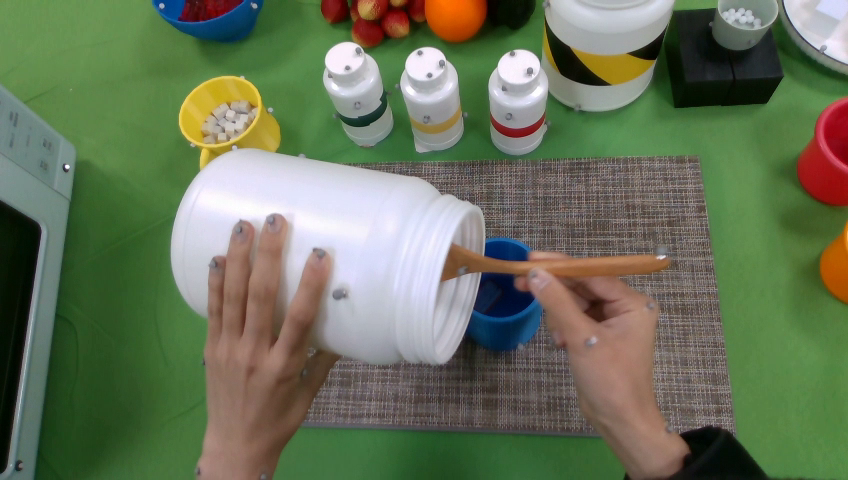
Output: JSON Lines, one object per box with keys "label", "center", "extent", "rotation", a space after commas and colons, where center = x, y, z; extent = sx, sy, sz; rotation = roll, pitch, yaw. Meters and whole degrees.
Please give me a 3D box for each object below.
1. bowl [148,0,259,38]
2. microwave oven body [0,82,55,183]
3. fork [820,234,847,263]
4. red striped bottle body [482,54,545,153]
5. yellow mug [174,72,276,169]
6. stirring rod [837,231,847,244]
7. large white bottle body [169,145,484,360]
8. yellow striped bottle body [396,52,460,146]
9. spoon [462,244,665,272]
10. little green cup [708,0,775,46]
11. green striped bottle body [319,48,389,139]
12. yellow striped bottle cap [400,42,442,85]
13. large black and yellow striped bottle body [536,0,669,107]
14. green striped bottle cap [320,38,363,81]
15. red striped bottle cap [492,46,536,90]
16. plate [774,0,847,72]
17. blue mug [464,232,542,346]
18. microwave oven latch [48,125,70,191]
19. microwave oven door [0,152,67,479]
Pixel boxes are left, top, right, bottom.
{"label": "bowl", "center": [-0.277, -0.324, 0.802], "extent": [0.151, 0.077, 0.150], "rotation": [-2, 68, 6]}
{"label": "microwave oven body", "center": [-0.589, 0.050, 0.586], "extent": [0.326, 0.262, 0.438], "rotation": [-9, 68, 3]}
{"label": "fork", "center": [0.444, 0.031, 0.524], "extent": [0.028, 0.019, 0.205], "rotation": [-26, 22, -12]}
{"label": "red striped bottle body", "center": [0.099, -0.153, 0.662], "extent": [0.063, 0.121, 0.062], "rotation": [-6, 63, 11]}
{"label": "yellow mug", "center": [-0.241, -0.128, 0.724], "extent": [0.100, 0.064, 0.130], "rotation": [9, 70, 11]}
{"label": "stirring rod", "center": [0.416, 0.029, 0.537], "extent": [0.014, 0.006, 0.175], "rotation": [2, 25, 6]}
{"label": "large white bottle body", "center": [-0.061, 0.009, 0.423], "extent": [0.184, 0.132, 0.130], "rotation": [11, 69, 18]}
{"label": "yellow striped bottle body", "center": [0.005, -0.163, 0.677], "extent": [0.063, 0.121, 0.062], "rotation": [-3, 67, 7]}
{"label": "spoon", "center": [0.059, 0.013, 0.409], "extent": [0.192, 0.042, 0.021], "rotation": [2, 34, 29]}
{"label": "little green cup", "center": [0.340, -0.243, 0.656], "extent": [0.061, 0.039, 0.061], "rotation": [-2, 65, 4]}
{"label": "green striped bottle body", "center": [-0.080, -0.172, 0.692], "extent": [0.063, 0.120, 0.062], "rotation": [-2, 67, 6]}
{"label": "yellow striped bottle cap", "center": [-0.003, -0.183, 0.629], "extent": [0.044, 0.019, 0.044], "rotation": [-1, 65, 2]}
{"label": "large black and yellow striped bottle body", "center": [0.190, -0.246, 0.653], "extent": [0.130, 0.185, 0.130], "rotation": [-3, 67, 7]}
{"label": "green striped bottle cap", "center": [-0.088, -0.193, 0.645], "extent": [0.044, 0.020, 0.044], "rotation": [-2, 67, 5]}
{"label": "red striped bottle cap", "center": [0.091, -0.175, 0.614], "extent": [0.044, 0.018, 0.044], "rotation": [-1, 66, 3]}
{"label": "plate", "center": [0.512, -0.273, 0.702], "extent": [0.209, 0.038, 0.207], "rotation": [-2, 68, 6]}
{"label": "blue mug", "center": [0.056, 0.058, 0.583], "extent": [0.116, 0.107, 0.081], "rotation": [-30, 66, -5]}
{"label": "microwave oven latch", "center": [-0.452, -0.097, 0.733], "extent": [0.030, 0.030, 0.078], "rotation": [-7, 68, 4]}
{"label": "microwave oven door", "center": [-0.441, 0.064, 0.555], "extent": [0.039, 0.246, 0.353], "rotation": [-9, 67, 4]}
